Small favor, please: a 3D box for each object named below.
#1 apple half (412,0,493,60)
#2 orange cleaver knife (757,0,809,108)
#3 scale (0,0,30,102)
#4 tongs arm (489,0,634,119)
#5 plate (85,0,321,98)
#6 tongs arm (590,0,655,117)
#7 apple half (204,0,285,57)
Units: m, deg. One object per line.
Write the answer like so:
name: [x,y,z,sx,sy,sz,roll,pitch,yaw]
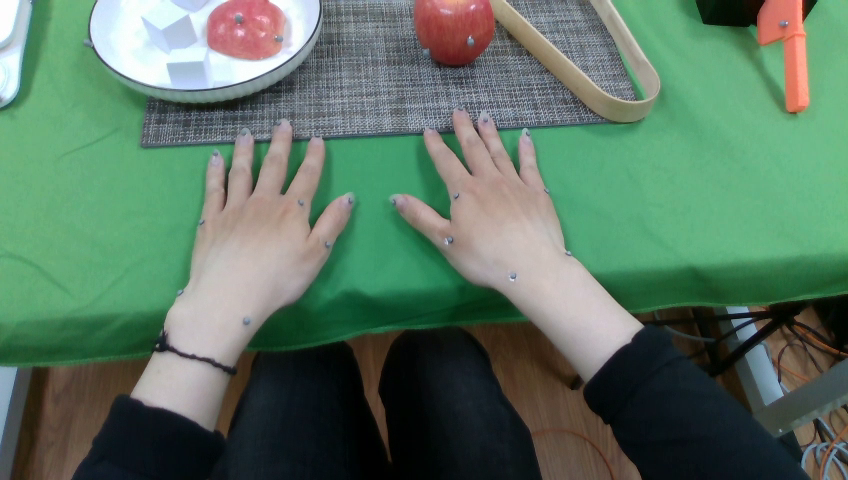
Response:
apple half: [0.018,-0.204,0.561,0.053,0.075,0.080,-40,72,-19]
orange cleaver knife: [0.353,-0.230,0.596,0.012,0.077,0.211,1,89,-7]
scale: [-0.448,-0.199,0.557,0.149,0.032,0.199,-9,60,-8]
tongs arm: [0.073,-0.255,0.622,0.028,0.028,0.384,-26,64,-22]
plate: [-0.200,-0.205,0.569,0.209,0.038,0.207,2,59,-2]
tongs arm: [0.150,-0.282,0.641,0.051,0.027,0.381,-14,62,-13]
apple half: [-0.170,-0.210,0.568,0.081,0.033,0.080,4,59,-5]
